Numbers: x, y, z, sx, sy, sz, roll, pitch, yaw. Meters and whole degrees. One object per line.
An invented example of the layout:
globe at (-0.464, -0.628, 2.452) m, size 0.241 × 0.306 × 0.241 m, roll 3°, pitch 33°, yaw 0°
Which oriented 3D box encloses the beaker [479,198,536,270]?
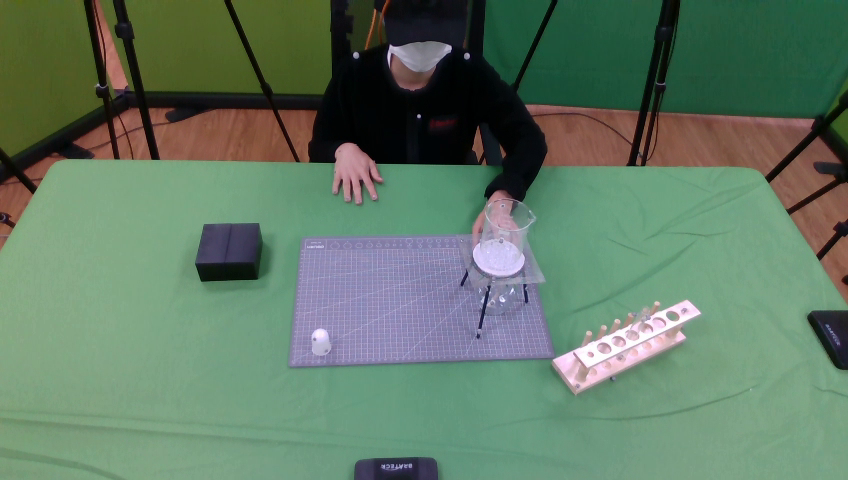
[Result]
beaker at (0.131, -0.007, 0.975) m, size 0.084 × 0.101 × 0.073 m, roll 2°, pitch 46°, yaw -3°

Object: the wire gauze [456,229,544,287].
wire gauze at (0.125, 0.030, 1.008) m, size 0.125 × 0.011 × 0.120 m, roll -3°, pitch 48°, yaw -11°

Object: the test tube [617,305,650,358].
test tube at (0.333, 0.149, 0.967) m, size 0.017 × 0.151 × 0.017 m, roll 0°, pitch 52°, yaw 1°

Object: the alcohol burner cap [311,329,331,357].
alcohol burner cap at (-0.173, 0.168, 1.005) m, size 0.034 × 0.048 × 0.033 m, roll 2°, pitch 46°, yaw -2°

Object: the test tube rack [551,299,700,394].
test tube rack at (0.339, 0.166, 1.021) m, size 0.242 × 0.085 × 0.066 m, roll -19°, pitch 50°, yaw -21°

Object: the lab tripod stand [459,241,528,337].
lab tripod stand at (0.122, 0.075, 1.054) m, size 0.148 × 0.132 × 0.147 m, roll 3°, pitch 44°, yaw -3°

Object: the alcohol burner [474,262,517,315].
alcohol burner at (0.128, 0.078, 1.066) m, size 0.078 × 0.119 × 0.077 m, roll 2°, pitch 48°, yaw -2°
